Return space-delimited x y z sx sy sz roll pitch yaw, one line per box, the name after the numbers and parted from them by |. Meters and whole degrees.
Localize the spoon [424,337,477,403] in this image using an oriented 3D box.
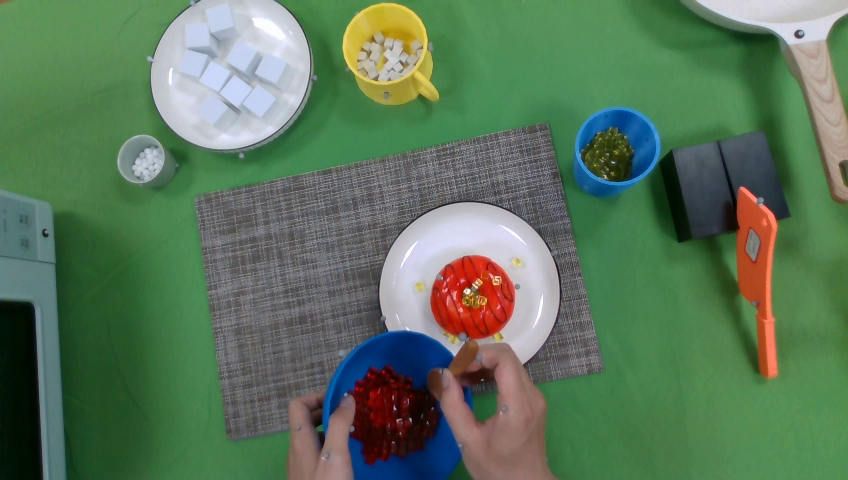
0.023 0.116 0.529 0.021 0.195 0.041 -39 77 -18 | spoon

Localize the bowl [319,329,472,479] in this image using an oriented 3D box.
-0.038 0.164 0.593 0.152 0.076 0.150 6 77 -27 | bowl

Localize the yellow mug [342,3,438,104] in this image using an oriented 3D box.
-0.032 -0.213 0.729 0.130 0.064 0.100 42 88 8 | yellow mug

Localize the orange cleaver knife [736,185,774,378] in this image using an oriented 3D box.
0.354 0.047 0.651 0.012 0.076 0.212 -12 111 4 | orange cleaver knife

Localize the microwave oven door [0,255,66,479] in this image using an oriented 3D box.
-0.466 0.187 0.617 0.039 0.244 0.354 -8 82 5 | microwave oven door

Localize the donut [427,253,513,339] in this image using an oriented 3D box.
0.052 0.064 0.686 0.099 0.048 0.099 0 86 6 | donut

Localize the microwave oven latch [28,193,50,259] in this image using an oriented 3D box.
-0.481 -0.016 0.745 0.030 0.029 0.079 -5 83 5 | microwave oven latch

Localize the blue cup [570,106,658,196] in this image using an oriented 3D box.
0.202 -0.090 0.673 0.092 0.100 0.092 -1 81 5 | blue cup

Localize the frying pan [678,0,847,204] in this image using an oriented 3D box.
0.405 -0.271 0.673 0.306 0.103 0.485 -6 74 6 | frying pan

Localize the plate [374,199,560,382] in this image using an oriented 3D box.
0.049 0.058 0.698 0.209 0.038 0.208 -1 84 6 | plate

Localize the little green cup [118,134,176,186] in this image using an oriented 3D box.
-0.344 -0.097 0.758 0.061 0.039 0.061 0 83 5 | little green cup

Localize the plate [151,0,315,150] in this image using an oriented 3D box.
-0.236 -0.211 0.763 0.207 0.039 0.207 -1 83 6 | plate

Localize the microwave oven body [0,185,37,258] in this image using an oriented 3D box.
-0.615 0.165 0.639 0.326 0.261 0.440 -8 83 4 | microwave oven body
